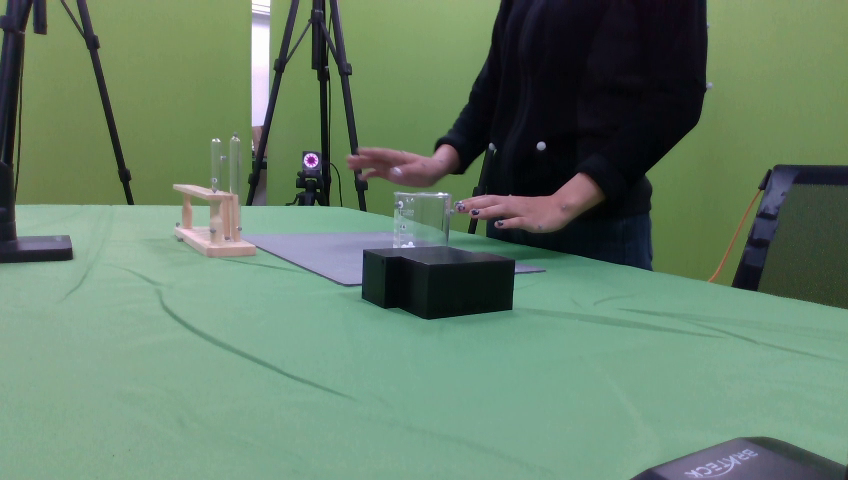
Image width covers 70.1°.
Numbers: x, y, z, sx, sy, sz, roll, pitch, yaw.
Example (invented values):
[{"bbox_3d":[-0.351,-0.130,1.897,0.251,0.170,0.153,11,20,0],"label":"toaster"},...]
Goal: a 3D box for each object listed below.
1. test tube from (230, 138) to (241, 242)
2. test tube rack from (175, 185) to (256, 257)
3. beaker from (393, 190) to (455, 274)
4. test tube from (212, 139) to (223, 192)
[{"bbox_3d":[-0.270,-0.071,0.866,0.017,0.150,0.017,2,8,0],"label":"test tube"},{"bbox_3d":[-0.324,-0.035,0.922,0.067,0.085,0.241,-2,9,-32],"label":"test tube rack"},{"bbox_3d":[-0.005,-0.011,0.760,0.074,0.100,0.083,-2,8,-32],"label":"beaker"},{"bbox_3d":[-0.329,-0.086,0.965,0.017,0.150,0.017,1,6,0],"label":"test tube"}]
